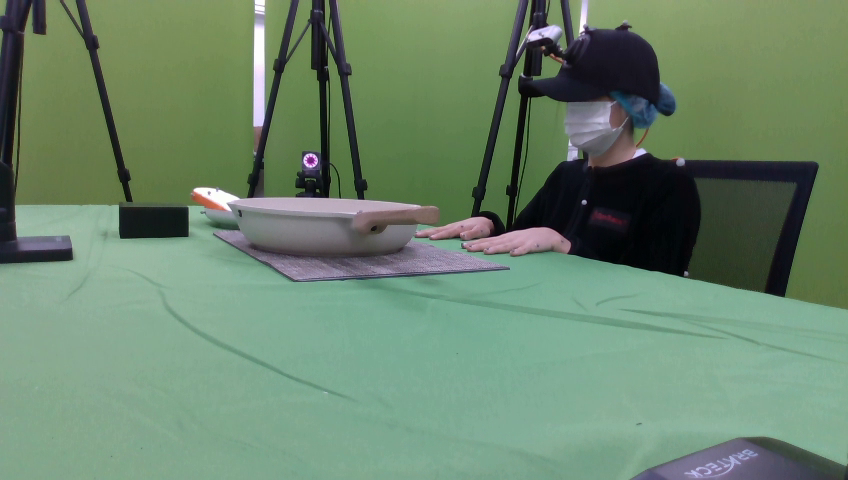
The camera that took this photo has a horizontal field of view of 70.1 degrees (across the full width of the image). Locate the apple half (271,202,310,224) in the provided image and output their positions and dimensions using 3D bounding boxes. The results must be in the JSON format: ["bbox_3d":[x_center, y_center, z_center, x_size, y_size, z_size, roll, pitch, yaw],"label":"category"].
[{"bbox_3d":[-0.263,-0.059,1.178,0.081,0.033,0.081,-22,2,1],"label":"apple half"}]

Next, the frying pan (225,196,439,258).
[{"bbox_3d":[-0.103,-0.027,0.845,0.308,0.102,0.486,-1,0,-25],"label":"frying pan"}]

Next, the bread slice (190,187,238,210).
[{"bbox_3d":[-0.402,-0.074,1.218,0.131,0.019,0.105,26,12,15],"label":"bread slice"}]

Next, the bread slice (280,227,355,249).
[{"bbox_3d":[-0.170,-0.004,0.943,0.107,0.018,0.134,2,7,-15],"label":"bread slice"}]

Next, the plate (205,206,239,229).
[{"bbox_3d":[-0.324,-0.046,1.199,0.208,0.039,0.207,3,7,0],"label":"plate"}]
